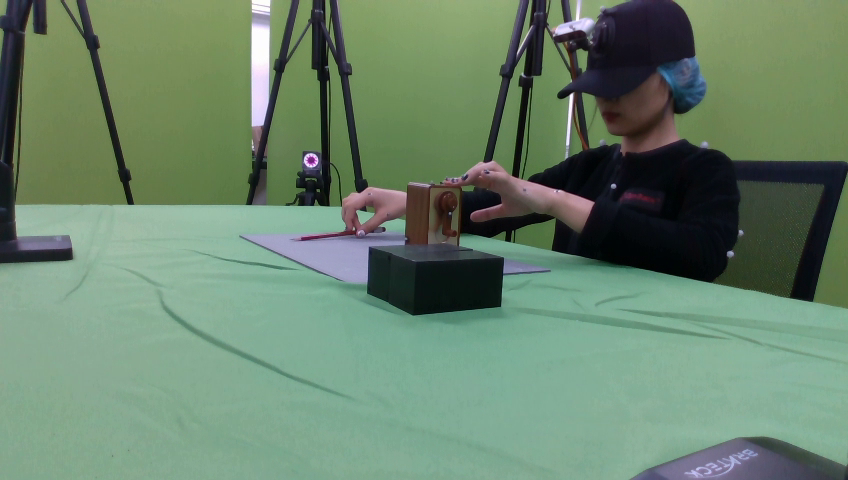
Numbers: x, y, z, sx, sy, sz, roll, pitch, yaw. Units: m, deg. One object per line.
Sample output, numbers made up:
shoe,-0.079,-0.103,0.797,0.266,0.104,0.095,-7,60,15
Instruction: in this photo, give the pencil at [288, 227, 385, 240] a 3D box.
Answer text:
pencil,-0.147,-0.010,1.048,0.195,0.012,0.012,-7,11,-39

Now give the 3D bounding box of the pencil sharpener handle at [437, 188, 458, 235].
pencil sharpener handle,0.041,-0.041,0.877,0.036,0.067,0.030,1,7,-30

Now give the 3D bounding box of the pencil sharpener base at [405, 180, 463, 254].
pencil sharpener base,0.016,-0.035,0.922,0.061,0.107,0.076,-2,9,-30
